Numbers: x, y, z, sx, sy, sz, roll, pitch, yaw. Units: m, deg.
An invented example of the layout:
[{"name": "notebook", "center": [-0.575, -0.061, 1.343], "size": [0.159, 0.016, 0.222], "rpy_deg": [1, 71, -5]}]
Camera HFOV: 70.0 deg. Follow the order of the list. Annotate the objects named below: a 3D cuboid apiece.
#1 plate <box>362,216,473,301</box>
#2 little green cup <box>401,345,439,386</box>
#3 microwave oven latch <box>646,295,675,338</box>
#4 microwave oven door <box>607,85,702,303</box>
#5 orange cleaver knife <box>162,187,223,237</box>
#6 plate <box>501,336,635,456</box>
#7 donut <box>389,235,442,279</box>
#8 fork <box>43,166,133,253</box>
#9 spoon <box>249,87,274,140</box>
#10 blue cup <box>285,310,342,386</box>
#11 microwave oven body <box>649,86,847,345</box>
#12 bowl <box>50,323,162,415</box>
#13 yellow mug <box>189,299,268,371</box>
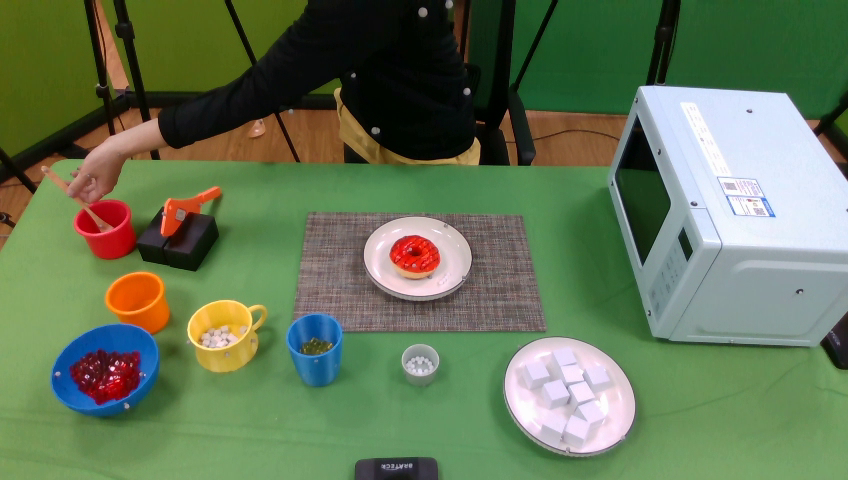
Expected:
[{"name": "plate", "center": [-0.012, 0.038, 1.145], "size": [0.209, 0.038, 0.208], "rpy_deg": [2, 46, -2]}, {"name": "little green cup", "center": [-0.007, 0.206, 0.988], "size": [0.061, 0.039, 0.061], "rpy_deg": [2, 46, -2]}, {"name": "microwave oven latch", "center": [0.412, 0.134, 1.061], "size": [0.030, 0.029, 0.078], "rpy_deg": [4, 45, 1]}, {"name": "microwave oven door", "center": [0.423, -0.094, 1.140], "size": [0.039, 0.245, 0.353], "rpy_deg": [2, 46, -1]}, {"name": "orange cleaver knife", "center": [-0.448, -0.058, 1.181], "size": [0.012, 0.077, 0.211], "rpy_deg": [12, 17, 7]}, {"name": "plate", "center": [0.225, 0.249, 0.964], "size": [0.208, 0.039, 0.206], "rpy_deg": [2, 46, -2]}, {"name": "donut", "center": [-0.016, 0.031, 1.135], "size": [0.099, 0.048, 0.098], "rpy_deg": [4, 44, -4]}, {"name": "fork", "center": [-0.622, -0.057, 1.121], "size": [0.028, 0.018, 0.208], "rpy_deg": [-47, 107, -25]}, {"name": "spoon", "center": [-0.364, -0.291, 1.381], "size": [0.041, 0.022, 0.192], "rpy_deg": [-10, 51, 16]}, {"name": "blue cup", "center": [-0.170, 0.179, 0.958], "size": [0.093, 0.101, 0.092], "rpy_deg": [2, 44, -1]}, {"name": "microwave oven body", "center": [0.568, -0.053, 1.118], "size": [0.326, 0.261, 0.439], "rpy_deg": [2, 45, -1]}, {"name": "bowl", "center": [-0.472, 0.209, 0.924], "size": [0.151, 0.077, 0.150], "rpy_deg": [2, 45, -2]}, {"name": "yellow mug", "center": [-0.316, 0.148, 1.002], "size": [0.131, 0.064, 0.099], "rpy_deg": [-32, 56, -31]}]
